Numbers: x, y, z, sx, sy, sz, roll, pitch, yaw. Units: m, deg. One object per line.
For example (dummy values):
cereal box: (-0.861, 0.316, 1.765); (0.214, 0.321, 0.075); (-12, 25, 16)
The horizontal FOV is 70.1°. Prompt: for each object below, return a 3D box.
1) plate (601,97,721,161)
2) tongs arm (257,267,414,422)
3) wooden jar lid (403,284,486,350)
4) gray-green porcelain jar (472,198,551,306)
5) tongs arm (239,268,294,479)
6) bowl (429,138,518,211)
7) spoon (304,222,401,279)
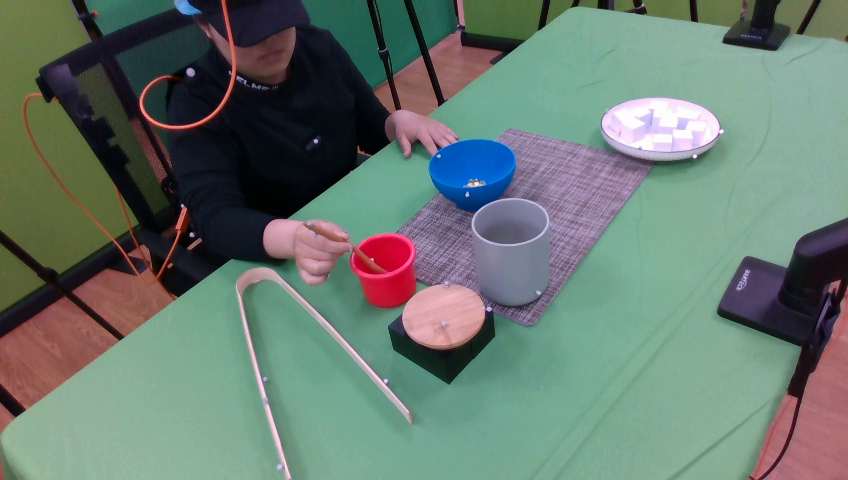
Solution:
plate: (0.437, -0.202, 1.126); (0.209, 0.038, 0.208); (-5, 39, 5)
tongs arm: (-0.136, 0.132, 0.852); (0.028, 0.028, 0.384); (-35, 46, -23)
wooden jar lid: (0.027, 0.101, 0.786); (0.108, 0.021, 0.108); (-5, 39, 4)
gray-green porcelain jar: (0.125, 0.021, 0.850); (0.106, 0.127, 0.105); (-6, 40, 5)
tongs arm: (-0.208, 0.163, 0.824); (0.051, 0.026, 0.381); (-22, 40, -15)
bowl: (0.087, -0.103, 1.043); (0.151, 0.077, 0.150); (-5, 40, 5)
spoon: (-0.099, 0.016, 0.857); (0.041, 0.195, 0.021); (12, 71, 44)
